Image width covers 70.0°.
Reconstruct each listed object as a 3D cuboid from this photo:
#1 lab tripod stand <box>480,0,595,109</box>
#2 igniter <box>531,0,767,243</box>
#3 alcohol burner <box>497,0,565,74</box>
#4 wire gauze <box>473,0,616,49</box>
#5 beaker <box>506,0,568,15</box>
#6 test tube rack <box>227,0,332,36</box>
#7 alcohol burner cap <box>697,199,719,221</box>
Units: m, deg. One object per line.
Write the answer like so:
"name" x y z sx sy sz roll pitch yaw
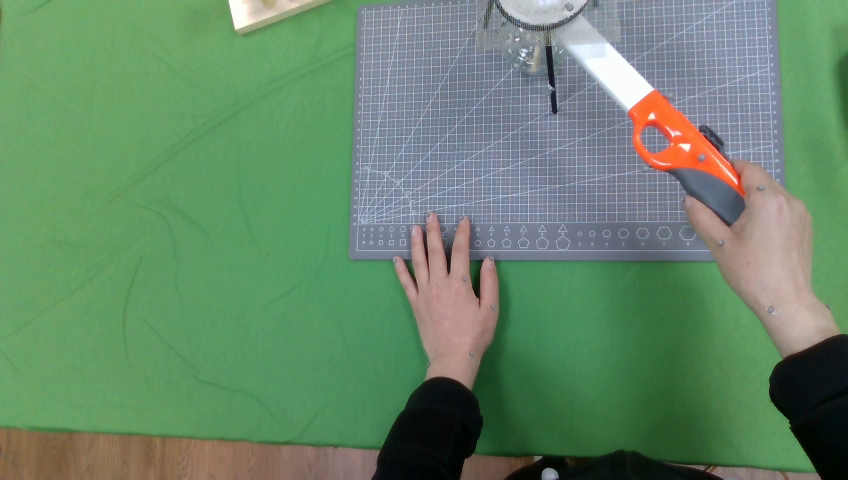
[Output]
"lab tripod stand" 0.117 -0.220 0.599 0.148 0.132 0.148 -1 84 10
"igniter" 0.192 -0.112 0.525 0.057 0.025 0.275 -40 75 9
"alcohol burner" 0.111 -0.215 0.610 0.078 0.119 0.077 -1 82 10
"wire gauze" 0.104 -0.229 0.535 0.125 0.011 0.121 -1 87 9
"beaker" 0.089 -0.236 0.489 0.083 0.101 0.074 13 86 13
"test tube rack" -0.130 -0.322 0.689 0.242 0.085 0.066 -17 79 9
"alcohol burner cap" 0.288 -0.039 0.590 0.034 0.048 0.033 -1 82 10
